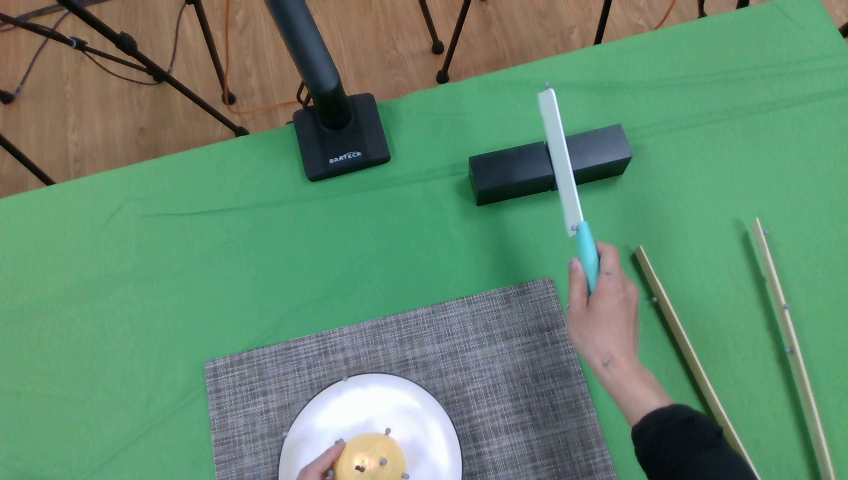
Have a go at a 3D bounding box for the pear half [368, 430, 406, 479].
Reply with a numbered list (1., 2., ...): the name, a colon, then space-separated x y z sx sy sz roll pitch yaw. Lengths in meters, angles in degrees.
1. pear half: -0.037 0.240 0.655 0.031 0.088 0.070 -11 66 2

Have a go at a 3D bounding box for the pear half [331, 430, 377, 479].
1. pear half: -0.074 0.242 0.647 0.056 0.111 0.075 -10 64 0

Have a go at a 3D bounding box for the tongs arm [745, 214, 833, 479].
1. tongs arm: 0.416 0.152 0.705 0.051 0.027 0.382 -9 71 2

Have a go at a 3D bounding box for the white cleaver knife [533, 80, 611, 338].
1. white cleaver knife: 0.161 -0.033 0.665 0.021 0.066 0.286 -12 91 -2

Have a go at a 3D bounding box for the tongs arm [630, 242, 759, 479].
1. tongs arm: 0.337 0.172 0.708 0.028 0.028 0.384 -20 70 -6

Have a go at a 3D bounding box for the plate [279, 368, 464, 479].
1. plate: -0.058 0.252 0.690 0.207 0.039 0.206 -1 70 3
